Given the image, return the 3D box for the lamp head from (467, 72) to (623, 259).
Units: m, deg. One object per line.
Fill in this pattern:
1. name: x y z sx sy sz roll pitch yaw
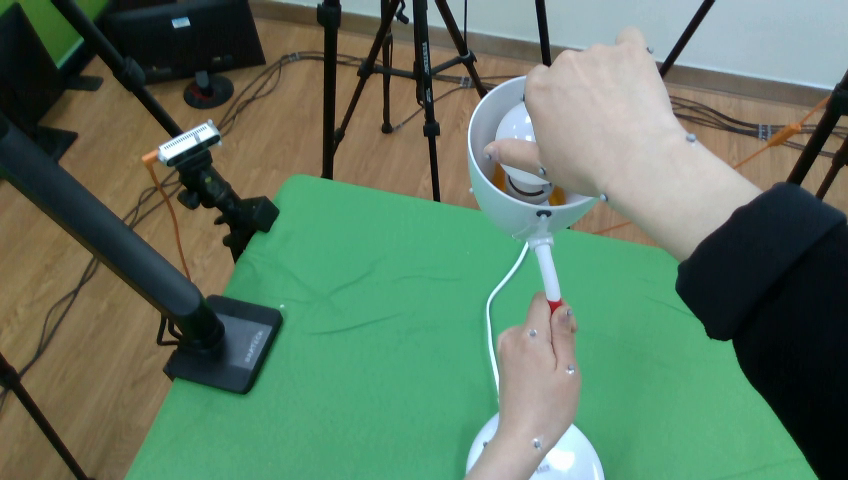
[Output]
1. lamp head: 0.087 -0.048 0.477 0.112 0.124 0.111 0 62 1

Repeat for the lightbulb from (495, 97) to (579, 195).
1. lightbulb: 0.082 -0.063 0.455 0.059 0.108 0.059 -1 70 3

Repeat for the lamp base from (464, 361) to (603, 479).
1. lamp base: 0.120 0.216 0.647 0.161 0.182 0.177 -23 56 -14
